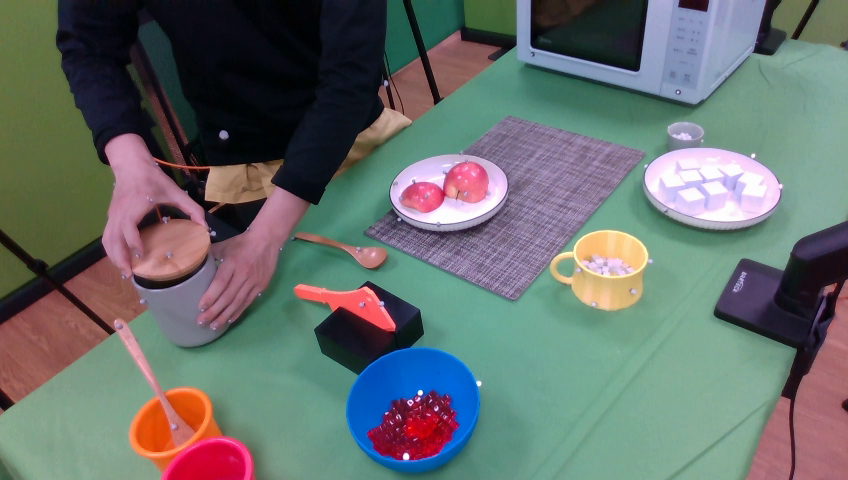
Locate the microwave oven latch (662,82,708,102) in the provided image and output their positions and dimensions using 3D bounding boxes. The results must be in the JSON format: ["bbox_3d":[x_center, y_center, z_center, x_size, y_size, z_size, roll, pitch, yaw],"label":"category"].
[{"bbox_3d":[0.517,-0.298,1.203,0.078,0.029,0.030,28,53,35],"label":"microwave oven latch"}]

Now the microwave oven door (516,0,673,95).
[{"bbox_3d":[0.344,-0.458,1.256,0.353,0.245,0.039,26,51,33],"label":"microwave oven door"}]

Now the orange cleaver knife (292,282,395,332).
[{"bbox_3d":[-0.116,0.091,0.835,0.209,0.077,0.012,2,32,48],"label":"orange cleaver knife"}]

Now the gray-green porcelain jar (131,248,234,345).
[{"bbox_3d":[-0.333,0.076,0.849,0.106,0.127,0.105,-4,41,4],"label":"gray-green porcelain jar"}]

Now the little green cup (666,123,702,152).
[{"bbox_3d":[0.472,-0.183,1.103,0.061,0.039,0.061,-5,41,5],"label":"little green cup"}]

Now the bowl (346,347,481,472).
[{"bbox_3d":[-0.008,0.205,0.691,0.151,0.077,0.150,-4,40,4],"label":"bowl"}]

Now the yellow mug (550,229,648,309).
[{"bbox_3d":[0.245,0.040,0.857,0.130,0.064,0.099,1,42,11],"label":"yellow mug"}]

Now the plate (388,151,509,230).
[{"bbox_3d":[0.043,-0.082,1.042,0.209,0.038,0.208,-4,40,4],"label":"plate"}]

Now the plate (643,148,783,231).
[{"bbox_3d":[0.464,-0.079,0.986,0.207,0.039,0.206,-4,40,4],"label":"plate"}]

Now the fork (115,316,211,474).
[{"bbox_3d":[-0.308,0.179,0.708,0.028,0.018,0.207,-30,89,-22],"label":"fork"}]

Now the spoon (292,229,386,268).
[{"bbox_3d":[-0.141,0.007,0.982,0.192,0.022,0.041,18,65,26],"label":"spoon"}]

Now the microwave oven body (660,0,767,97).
[{"bbox_3d":[0.473,-0.517,1.314,0.438,0.261,0.327,26,51,34],"label":"microwave oven body"}]

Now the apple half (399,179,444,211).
[{"bbox_3d":[-0.004,-0.087,1.045,0.081,0.033,0.081,-2,43,2],"label":"apple half"}]

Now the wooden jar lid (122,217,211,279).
[{"bbox_3d":[-0.335,0.012,0.793,0.108,0.021,0.108,2,43,-1],"label":"wooden jar lid"}]

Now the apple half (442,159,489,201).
[{"bbox_3d":[0.074,-0.110,1.047,0.080,0.053,0.075,21,46,30],"label":"apple half"}]
